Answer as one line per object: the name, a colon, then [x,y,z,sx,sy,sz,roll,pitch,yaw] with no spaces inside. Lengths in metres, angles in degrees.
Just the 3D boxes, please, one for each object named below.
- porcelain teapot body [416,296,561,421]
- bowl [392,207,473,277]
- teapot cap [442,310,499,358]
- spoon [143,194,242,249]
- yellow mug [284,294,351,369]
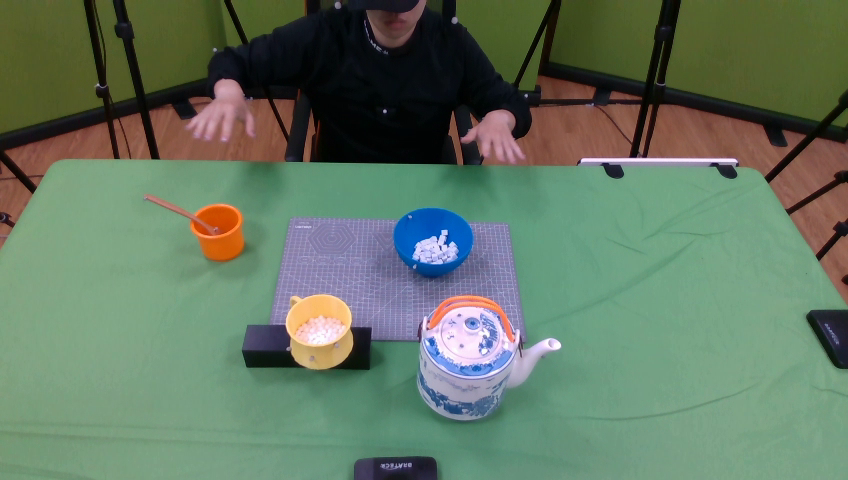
porcelain teapot body: [0.094,0.164,0.907,0.205,0.226,0.144,6,45,1]
bowl: [0.014,0.016,1.140,0.151,0.077,0.150,2,46,-2]
teapot cap: [0.068,0.133,0.880,0.085,0.044,0.084,4,45,-4]
spoon: [-0.421,-0.036,1.112,0.021,0.195,0.041,-36,38,24]
yellow mug: [-0.175,0.134,0.955,0.100,0.064,0.130,-33,56,-31]
